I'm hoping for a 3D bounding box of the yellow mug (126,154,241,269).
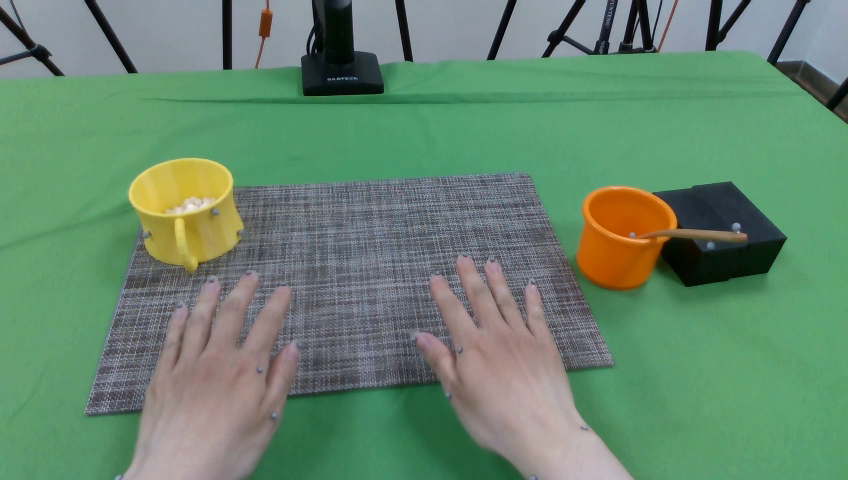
[{"bbox_3d":[-0.243,-0.026,0.620,0.100,0.064,0.129,-8,44,-13],"label":"yellow mug"}]

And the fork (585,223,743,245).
[{"bbox_3d":[0.216,-0.005,0.570,0.028,0.018,0.207,-4,-2,-17],"label":"fork"}]
